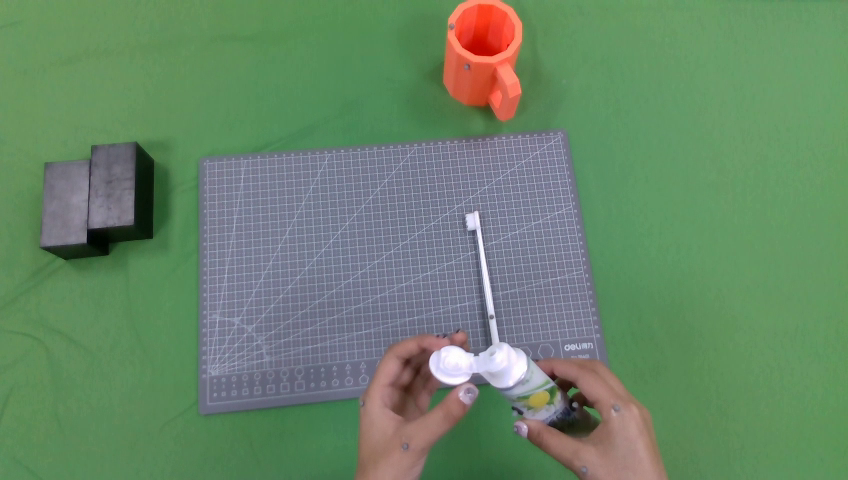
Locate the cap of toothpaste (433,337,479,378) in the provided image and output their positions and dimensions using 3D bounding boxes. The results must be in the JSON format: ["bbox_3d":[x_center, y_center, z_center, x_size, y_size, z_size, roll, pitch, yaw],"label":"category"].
[{"bbox_3d":[0.025,0.088,0.463,0.037,0.011,0.037,6,48,-6],"label":"cap of toothpaste"}]

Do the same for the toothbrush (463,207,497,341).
[{"bbox_3d":[0.066,0.048,0.693,0.016,0.014,0.181,-9,75,0],"label":"toothbrush"}]

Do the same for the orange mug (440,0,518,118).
[{"bbox_3d":[0.072,-0.213,0.726,0.083,0.101,0.125,-26,72,-9],"label":"orange mug"}]

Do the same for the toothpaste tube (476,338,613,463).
[{"bbox_3d":[0.095,0.132,0.492,0.055,0.034,0.167,-36,121,14],"label":"toothpaste tube"}]
